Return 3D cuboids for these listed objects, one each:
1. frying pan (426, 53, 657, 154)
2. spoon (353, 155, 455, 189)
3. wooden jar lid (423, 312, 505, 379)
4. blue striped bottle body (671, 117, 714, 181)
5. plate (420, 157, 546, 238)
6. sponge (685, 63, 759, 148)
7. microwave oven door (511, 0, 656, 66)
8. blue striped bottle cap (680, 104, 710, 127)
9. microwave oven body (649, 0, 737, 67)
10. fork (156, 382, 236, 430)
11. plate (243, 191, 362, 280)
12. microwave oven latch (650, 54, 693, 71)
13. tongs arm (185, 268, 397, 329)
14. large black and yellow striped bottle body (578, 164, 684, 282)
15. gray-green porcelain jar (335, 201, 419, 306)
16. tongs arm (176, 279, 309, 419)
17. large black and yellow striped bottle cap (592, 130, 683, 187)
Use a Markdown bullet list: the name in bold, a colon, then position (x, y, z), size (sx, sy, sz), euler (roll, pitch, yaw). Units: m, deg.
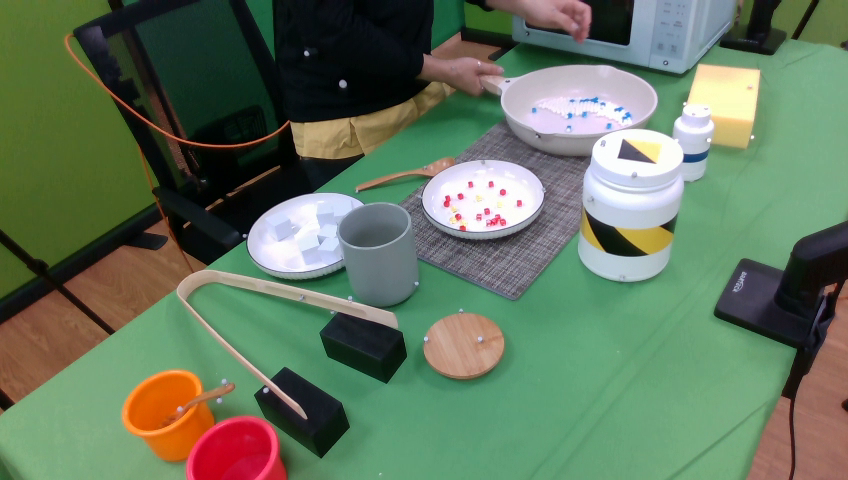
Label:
- **frying pan**: position (0.212, -0.300, 1.221), size (0.485, 0.103, 0.307), euler (27, 48, 22)
- **spoon**: position (-0.038, -0.124, 1.116), size (0.194, 0.022, 0.041), euler (-12, 58, -4)
- **wooden jar lid**: position (0.053, 0.142, 0.800), size (0.108, 0.021, 0.108), euler (-5, 39, 4)
- **blue striped bottle body**: position (0.450, -0.165, 1.022), size (0.063, 0.121, 0.063), euler (-5, 41, 4)
- **plate**: position (0.099, -0.067, 1.017), size (0.209, 0.038, 0.208), euler (-4, 40, 4)
- **sponge**: position (0.569, -0.263, 1.164), size (0.117, 0.061, 0.207), euler (12, 45, 22)
- **microwave oven door**: position (0.351, -0.540, 1.349), size (0.353, 0.245, 0.039), euler (24, 50, 31)
- **blue striped bottle cap**: position (0.444, -0.205, 0.989), size (0.044, 0.021, 0.044), euler (-1, 41, 2)
- **microwave oven body**: position (0.475, -0.602, 1.411), size (0.438, 0.261, 0.327), euler (23, 50, 32)
- **fork**: position (-0.262, 0.189, 0.690), size (0.018, 0.206, 0.028), euler (49, 43, -7)
- **plate**: position (-0.187, -0.005, 0.992), size (0.207, 0.039, 0.206), euler (-4, 41, 4)
- **microwave oven latch**: position (0.531, -0.386, 1.301), size (0.078, 0.029, 0.030), euler (25, 51, 32)
- **tongs arm**: position (-0.202, 0.084, 0.848), size (0.382, 0.027, 0.051), euler (11, 45, 35)
- **large black and yellow striped bottle body**: position (0.292, -0.046, 0.859), size (0.131, 0.185, 0.130), euler (-4, 41, 4)
- **gray-green porcelain jar**: position (-0.064, 0.024, 0.872), size (0.106, 0.127, 0.105), euler (-4, 41, 4)
- **tongs arm**: position (-0.254, 0.133, 0.802), size (0.028, 0.028, 0.384), euler (-41, 41, -22)
- **large black and yellow striped bottle cap**: position (0.282, -0.111, 0.803), size (0.115, 0.019, 0.114), euler (-3, 41, 3)
